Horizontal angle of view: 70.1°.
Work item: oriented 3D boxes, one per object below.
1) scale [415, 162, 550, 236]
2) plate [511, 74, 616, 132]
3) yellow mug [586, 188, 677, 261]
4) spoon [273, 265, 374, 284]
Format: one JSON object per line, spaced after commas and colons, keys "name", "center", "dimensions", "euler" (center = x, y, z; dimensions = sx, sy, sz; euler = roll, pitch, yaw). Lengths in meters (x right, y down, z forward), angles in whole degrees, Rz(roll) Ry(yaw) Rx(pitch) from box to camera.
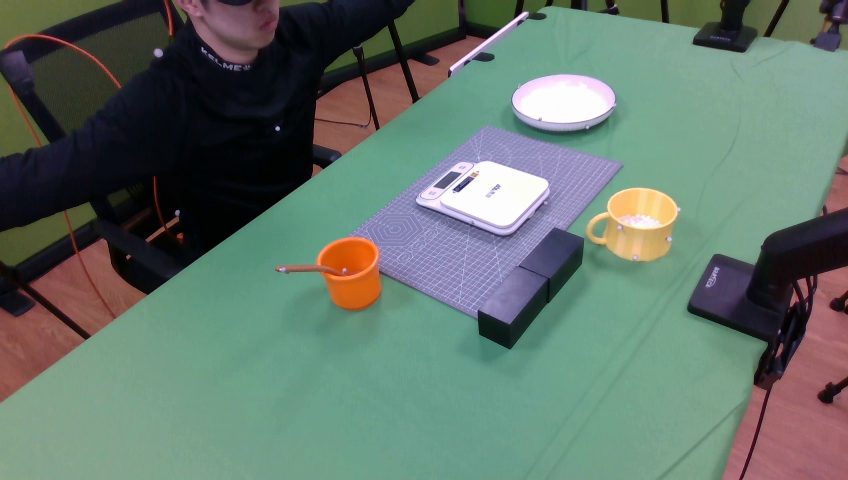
{"name": "scale", "center": [0.099, -0.079, 1.035], "dimensions": [0.199, 0.032, 0.149], "euler": [23, 48, 31]}
{"name": "plate", "center": [0.283, -0.276, 1.238], "dimensions": [0.209, 0.038, 0.208], "euler": [-4, 41, 4]}
{"name": "yellow mug", "center": [0.311, -0.022, 0.916], "dimensions": [0.131, 0.064, 0.099], "euler": [-8, 40, 0]}
{"name": "spoon", "center": [-0.136, 0.045, 0.839], "dimensions": [0.041, 0.195, 0.021], "euler": [18, 91, 33]}
